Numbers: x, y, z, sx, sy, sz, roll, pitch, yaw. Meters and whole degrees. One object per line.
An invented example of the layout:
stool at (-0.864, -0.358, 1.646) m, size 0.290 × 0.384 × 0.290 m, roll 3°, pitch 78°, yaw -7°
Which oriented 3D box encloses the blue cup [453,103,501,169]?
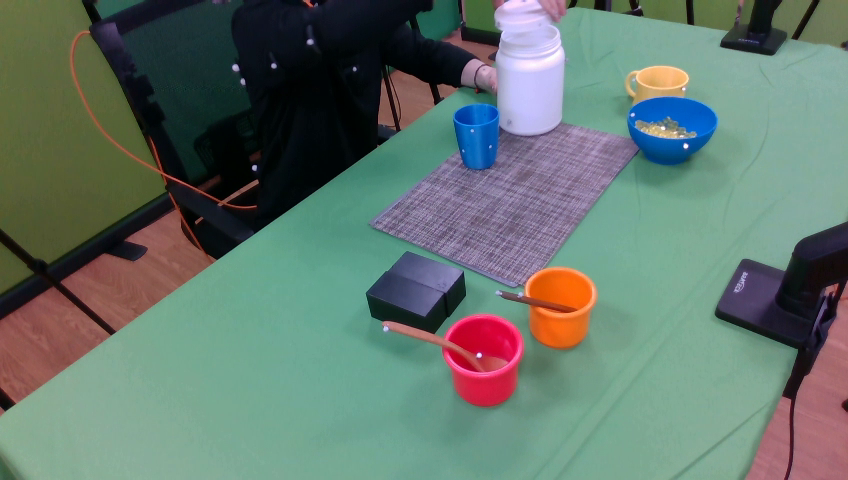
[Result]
blue cup at (0.099, -0.188, 1.114) m, size 0.092 × 0.100 × 0.092 m, roll -4°, pitch 39°, yaw 3°

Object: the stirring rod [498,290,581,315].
stirring rod at (0.151, 0.081, 0.771) m, size 0.178 × 0.006 × 0.014 m, roll 16°, pitch 19°, yaw -44°

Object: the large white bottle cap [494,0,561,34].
large white bottle cap at (0.178, -0.392, 1.051) m, size 0.114 × 0.018 × 0.114 m, roll -10°, pitch 41°, yaw 9°

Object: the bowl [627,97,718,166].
bowl at (0.439, -0.187, 1.087) m, size 0.151 × 0.077 × 0.150 m, roll -4°, pitch 41°, yaw 4°

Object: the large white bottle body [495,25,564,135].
large white bottle body at (0.206, -0.313, 1.181) m, size 0.130 × 0.185 × 0.130 m, roll -4°, pitch 41°, yaw 4°

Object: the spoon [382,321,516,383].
spoon at (0.033, 0.131, 0.725) m, size 0.195 × 0.021 × 0.041 m, roll 29°, pitch 29°, yaw -26°

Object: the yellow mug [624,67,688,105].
yellow mug at (0.464, -0.305, 1.230) m, size 0.100 × 0.064 × 0.129 m, roll -34°, pitch 46°, yaw -27°
